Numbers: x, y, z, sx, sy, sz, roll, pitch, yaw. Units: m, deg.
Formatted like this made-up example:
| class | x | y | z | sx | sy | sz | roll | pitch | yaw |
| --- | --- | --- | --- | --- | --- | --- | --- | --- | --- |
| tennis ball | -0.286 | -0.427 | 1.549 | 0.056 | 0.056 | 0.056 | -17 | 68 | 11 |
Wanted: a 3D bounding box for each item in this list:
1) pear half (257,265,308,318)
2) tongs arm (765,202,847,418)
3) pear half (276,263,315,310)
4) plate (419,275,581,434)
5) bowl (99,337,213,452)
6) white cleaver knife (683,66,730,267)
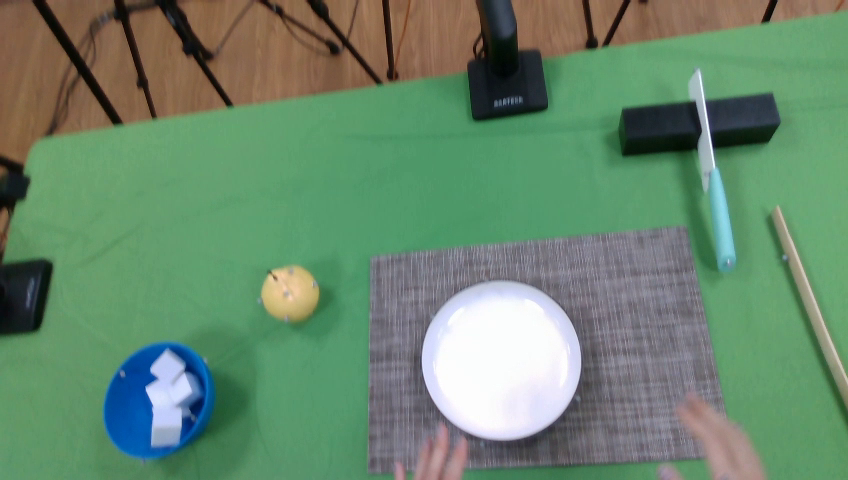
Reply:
| class | x | y | z | sx | sy | sz | roll | pitch | yaw |
| --- | --- | --- | --- | --- | --- | --- | --- | --- | --- |
| pear half | -0.209 | 0.071 | 0.846 | 0.056 | 0.111 | 0.075 | -30 | 54 | -4 |
| tongs arm | 0.497 | 0.125 | 0.740 | 0.028 | 0.028 | 0.384 | -12 | 66 | 4 |
| pear half | -0.175 | 0.059 | 0.857 | 0.031 | 0.089 | 0.069 | -30 | 55 | -3 |
| plate | 0.098 | 0.148 | 0.793 | 0.207 | 0.039 | 0.206 | -4 | 67 | 9 |
| bowl | -0.350 | 0.215 | 0.828 | 0.151 | 0.077 | 0.150 | -4 | 67 | 9 |
| white cleaver knife | 0.385 | -0.103 | 0.831 | 0.021 | 0.066 | 0.285 | -5 | 76 | 13 |
